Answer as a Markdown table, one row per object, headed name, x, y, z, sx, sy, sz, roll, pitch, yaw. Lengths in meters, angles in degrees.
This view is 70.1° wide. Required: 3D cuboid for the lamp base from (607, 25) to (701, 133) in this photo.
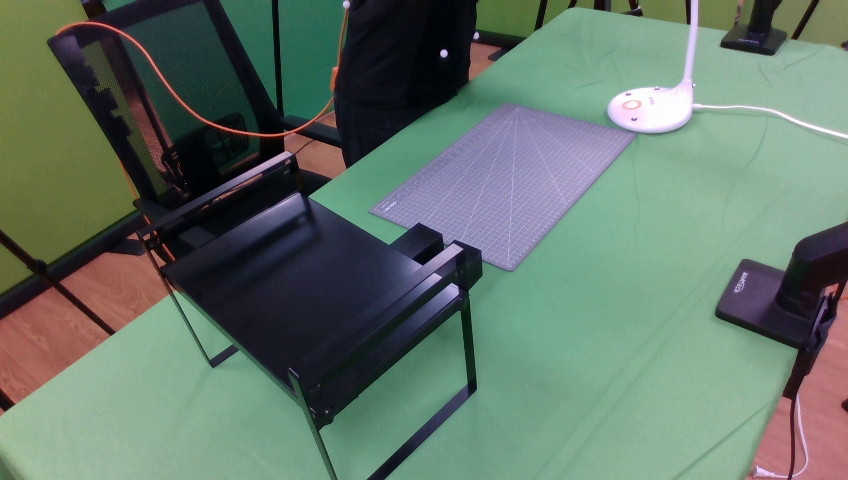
| name | x | y | z | sx | sy | sz | roll | pitch | yaw |
| --- | --- | --- | --- | --- | --- | --- | --- | --- | --- |
| lamp base | 0.453 | -0.320 | 1.159 | 0.179 | 0.181 | 0.159 | -6 | 41 | -2 |
